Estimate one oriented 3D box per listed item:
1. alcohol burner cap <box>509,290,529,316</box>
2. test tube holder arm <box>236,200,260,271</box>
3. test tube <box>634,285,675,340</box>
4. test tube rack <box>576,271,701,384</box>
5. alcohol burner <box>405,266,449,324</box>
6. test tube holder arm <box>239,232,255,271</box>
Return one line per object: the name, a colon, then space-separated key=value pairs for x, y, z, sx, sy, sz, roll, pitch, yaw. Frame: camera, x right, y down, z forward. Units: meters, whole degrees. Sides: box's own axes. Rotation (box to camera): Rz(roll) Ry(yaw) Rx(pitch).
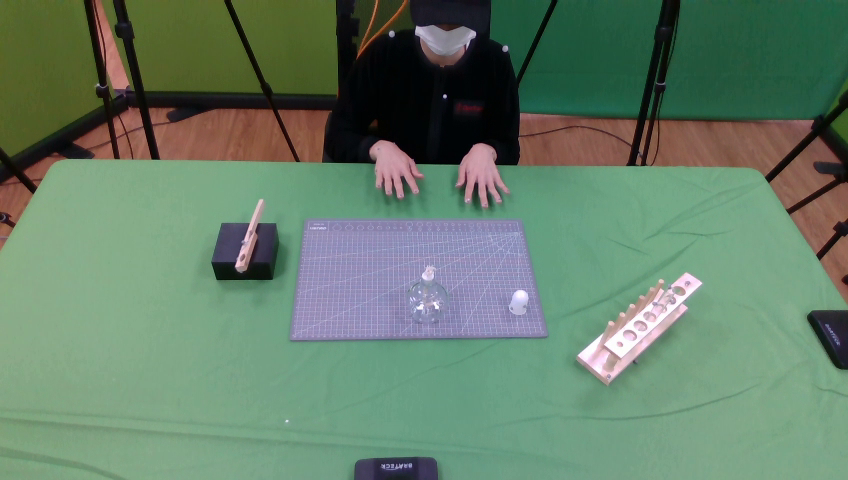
alcohol burner cap: x=0.171 y=0.110 z=1.086 sx=0.034 sy=0.048 sz=0.033 roll=2 pitch=45 yaw=-1
test tube holder arm: x=-0.324 y=-0.012 z=1.120 sx=0.013 sy=0.015 sz=0.177 roll=0 pitch=45 yaw=-3
test tube: x=0.376 y=0.122 z=0.993 sx=0.017 sy=0.151 sz=0.017 roll=3 pitch=50 yaw=-3
test tube rack: x=0.373 y=0.138 z=1.048 sx=0.242 sy=0.085 sz=0.066 roll=-31 pitch=55 yaw=-29
alcohol burner: x=0.005 y=0.089 z=1.043 sx=0.078 sy=0.120 sz=0.077 roll=1 pitch=45 yaw=-1
test tube holder arm: x=-0.317 y=0.020 z=1.089 sx=0.010 sy=0.015 sz=0.087 roll=1 pitch=45 yaw=-2
